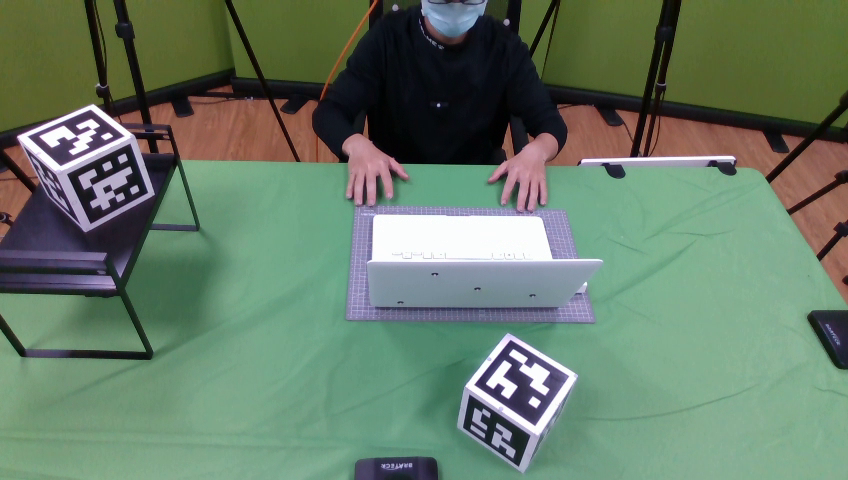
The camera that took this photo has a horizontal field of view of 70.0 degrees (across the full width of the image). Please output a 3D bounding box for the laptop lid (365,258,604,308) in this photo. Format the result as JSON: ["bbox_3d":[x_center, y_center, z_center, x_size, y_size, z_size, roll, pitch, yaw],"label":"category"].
[{"bbox_3d":[0.085,0.074,0.978,0.357,0.242,0.013,1,67,-5],"label":"laptop lid"}]

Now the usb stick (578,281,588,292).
[{"bbox_3d":[0.271,0.082,1.119,0.059,0.027,0.021,-2,47,-1],"label":"usb stick"}]

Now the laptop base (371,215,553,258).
[{"bbox_3d":[0.075,0.037,1.167,0.354,0.023,0.234,0,43,-4],"label":"laptop base"}]
